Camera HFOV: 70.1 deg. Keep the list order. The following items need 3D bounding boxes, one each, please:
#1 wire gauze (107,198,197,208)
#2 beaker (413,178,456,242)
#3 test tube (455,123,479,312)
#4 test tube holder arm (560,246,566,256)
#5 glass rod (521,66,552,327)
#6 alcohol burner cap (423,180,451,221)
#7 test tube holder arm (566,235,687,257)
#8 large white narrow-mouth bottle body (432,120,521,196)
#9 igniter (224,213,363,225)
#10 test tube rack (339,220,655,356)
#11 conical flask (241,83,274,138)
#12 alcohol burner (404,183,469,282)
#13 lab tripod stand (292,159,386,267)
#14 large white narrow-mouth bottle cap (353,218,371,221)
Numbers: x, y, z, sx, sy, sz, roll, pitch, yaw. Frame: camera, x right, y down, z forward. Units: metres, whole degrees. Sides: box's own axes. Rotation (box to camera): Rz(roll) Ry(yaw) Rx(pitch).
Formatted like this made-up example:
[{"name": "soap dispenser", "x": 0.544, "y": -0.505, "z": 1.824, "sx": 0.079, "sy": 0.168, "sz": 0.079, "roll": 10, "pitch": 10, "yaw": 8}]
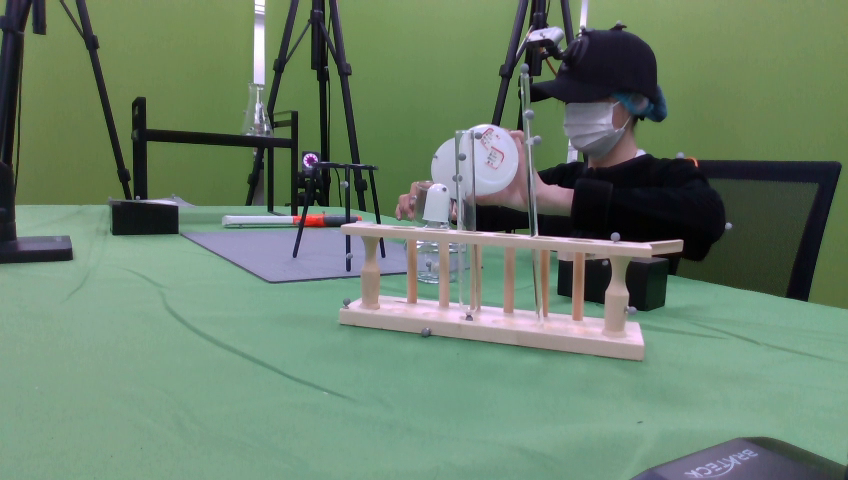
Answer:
[{"name": "wire gauze", "x": -0.462, "y": -0.064, "z": 1.023, "sx": 0.126, "sy": 0.011, "sz": 0.121, "roll": -2, "pitch": 7, "yaw": -32}, {"name": "beaker", "x": 0.019, "y": -0.052, "z": 1.061, "sx": 0.074, "sy": 0.100, "sz": 0.083, "roll": -8, "pitch": 22, "yaw": -35}, {"name": "test tube", "x": 0.034, "y": -0.016, "z": 0.476, "sx": 0.017, "sy": 0.150, "sz": 0.017, "roll": -2, "pitch": 10, "yaw": 1}, {"name": "test tube holder arm", "x": 0.173, "y": 0.007, "z": 0.611, "sx": 0.088, "sy": 0.015, "sz": 0.010, "roll": -3, "pitch": 9, "yaw": -30}, {"name": "glass rod", "x": 0.085, "y": -0.028, "z": 0.454, "sx": 0.008, "sy": 0.199, "sz": 0.008, "roll": -7, "pitch": 10, "yaw": 2}, {"name": "alcohol burner cap", "x": 0.017, "y": -0.047, "z": 0.711, "sx": 0.034, "sy": 0.048, "sz": 0.034, "roll": 8, "pitch": 5, "yaw": 0}, {"name": "test tube holder arm", "x": 0.215, "y": 0.006, "z": 0.629, "sx": 0.179, "sy": 0.015, "sz": 0.013, "roll": -3, "pitch": 9, "yaw": -30}, {"name": "large white narrow-mouth bottle body", "x": 0.068, "y": -0.120, "z": 0.955, "sx": 0.102, "sy": 0.101, "sz": 0.194, "roll": -1, "pitch": -2, "yaw": -20}, {"name": "igniter", "x": -0.255, "y": -0.041, "z": 1.210, "sx": 0.278, "sy": 0.025, "sz": 0.057, "roll": -2, "pitch": -2, "yaw": -31}, {"name": "test tube rack", "x": 0.056, "y": 0.032, "z": 0.495, "sx": 0.242, "sy": 0.085, "sz": 0.067, "roll": 4, "pitch": 7, "yaw": 15}, {"name": "conical flask", "x": -0.384, "y": -0.297, "z": 1.393, "sx": 0.075, "sy": 0.122, "sz": 0.075, "roll": 2, "pitch": 7, "yaw": 0}, {"name": "alcohol burner", "x": 0.015, "y": -0.011, "z": 0.715, "sx": 0.078, "sy": 0.119, "sz": 0.078, "roll": 0, "pitch": 7, "yaw": 0}, {"name": "lab tripod stand", "x": -0.105, "y": -0.039, "z": 0.798, "sx": 0.148, "sy": 0.131, "sz": 0.148, "roll": 2, "pitch": 5, "yaw": 0}, {"name": "large white narrow-mouth bottle cap", "x": -0.120, "y": -0.029, "z": 1.184, "sx": 0.038, "sy": 0.024, "sz": 0.037, "roll": 2, "pitch": 8, "yaw": 0}]
